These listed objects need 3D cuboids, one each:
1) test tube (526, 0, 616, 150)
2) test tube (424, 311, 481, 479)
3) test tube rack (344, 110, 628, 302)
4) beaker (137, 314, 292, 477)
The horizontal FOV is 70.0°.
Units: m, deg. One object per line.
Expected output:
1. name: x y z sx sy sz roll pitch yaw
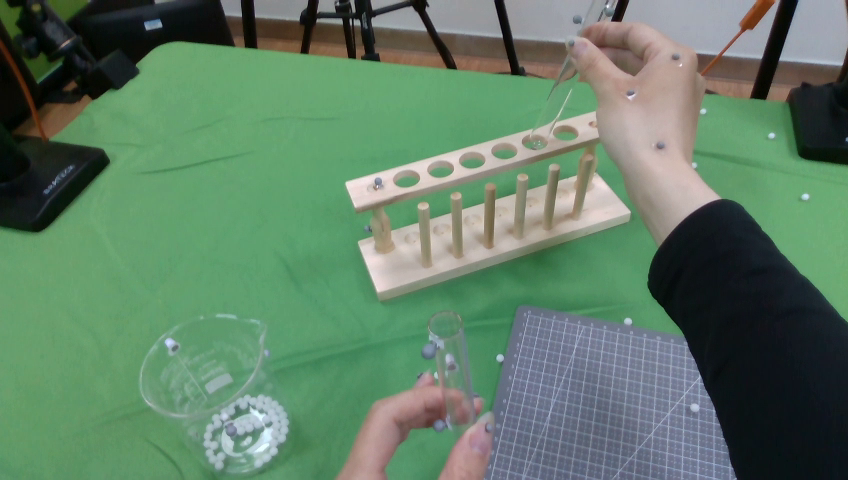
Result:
1. test tube: 0.113 -0.131 0.472 0.017 0.151 0.017 11 44 -11
2. test tube: 0.017 0.086 0.305 0.017 0.152 0.017 -5 46 6
3. test tube rack: 0.061 -0.032 0.528 0.243 0.086 0.066 -17 48 -11
4. beaker: -0.131 0.107 0.407 0.073 0.101 0.084 33 57 30
